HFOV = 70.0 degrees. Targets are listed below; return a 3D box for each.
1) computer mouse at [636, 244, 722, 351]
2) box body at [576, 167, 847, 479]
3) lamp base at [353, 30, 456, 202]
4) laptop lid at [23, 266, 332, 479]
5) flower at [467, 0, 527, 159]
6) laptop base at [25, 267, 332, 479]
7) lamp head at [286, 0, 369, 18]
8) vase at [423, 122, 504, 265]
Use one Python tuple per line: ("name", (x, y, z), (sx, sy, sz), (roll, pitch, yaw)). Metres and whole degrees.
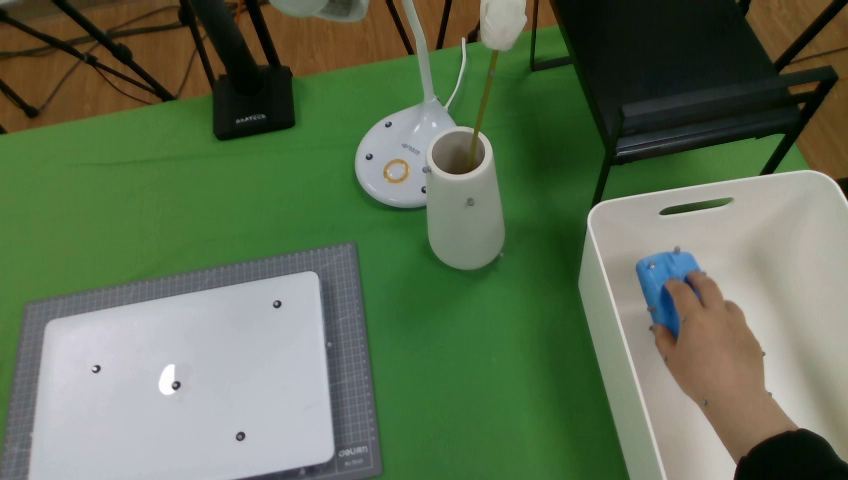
("computer mouse", (0.266, 0.057, 0.633), (0.063, 0.041, 0.116), (-8, 65, 3))
("box body", (0.316, 0.132, 0.607), (0.254, 0.162, 0.360), (-9, 62, 2))
("lamp base", (-0.023, -0.168, 0.785), (0.160, 0.182, 0.178), (20, 64, 15))
("laptop lid", (-0.292, 0.165, 0.716), (0.357, 0.013, 0.239), (-9, 64, 1))
("flower", (0.050, -0.099, 0.638), (0.038, 0.364, 0.043), (-15, 51, -21))
("laptop base", (-0.291, 0.168, 0.727), (0.354, 0.023, 0.233), (-10, 66, 0))
("lamp head", (-0.082, -0.262, 0.501), (0.112, 0.113, 0.122), (17, 83, 14))
("vase", (0.044, -0.050, 0.706), (0.098, 0.202, 0.097), (-3, 61, 6))
